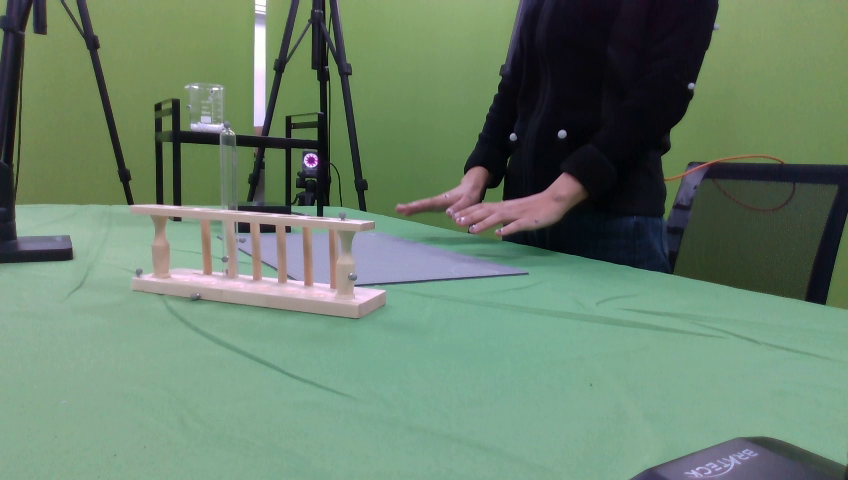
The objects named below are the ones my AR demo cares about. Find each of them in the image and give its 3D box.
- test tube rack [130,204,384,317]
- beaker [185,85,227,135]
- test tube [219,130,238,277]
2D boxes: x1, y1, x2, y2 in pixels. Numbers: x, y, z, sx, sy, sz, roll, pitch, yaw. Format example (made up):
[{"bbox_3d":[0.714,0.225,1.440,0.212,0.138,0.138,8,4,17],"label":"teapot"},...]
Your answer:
[{"bbox_3d":[-0.163,0.013,0.589,0.242,0.085,0.067,5,8,17],"label":"test tube rack"},{"bbox_3d":[-0.460,-0.275,1.282,0.084,0.100,0.073,-2,8,-27],"label":"beaker"},{"bbox_3d":[-0.198,-0.036,0.613,0.017,0.150,0.017,2,8,0],"label":"test tube"}]
